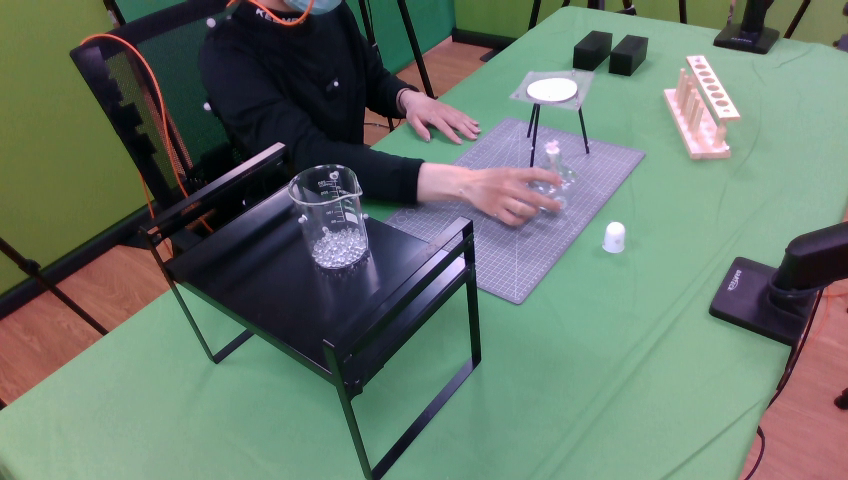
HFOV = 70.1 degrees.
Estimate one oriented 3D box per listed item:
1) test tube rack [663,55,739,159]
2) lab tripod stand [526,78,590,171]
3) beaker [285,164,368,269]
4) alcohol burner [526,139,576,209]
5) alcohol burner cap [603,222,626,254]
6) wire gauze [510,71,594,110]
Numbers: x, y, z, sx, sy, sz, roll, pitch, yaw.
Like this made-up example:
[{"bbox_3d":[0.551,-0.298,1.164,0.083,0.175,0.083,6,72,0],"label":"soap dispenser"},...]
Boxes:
[{"bbox_3d":[0.518,-0.256,1.144,0.066,0.085,0.241,-1,41,8],"label":"test tube rack"},{"bbox_3d":[0.228,-0.216,1.097,0.148,0.132,0.147,-6,40,5],"label":"lab tripod stand"},{"bbox_3d":[-0.102,-0.024,0.676,0.083,0.101,0.074,8,43,17],"label":"beaker"},{"bbox_3d":[0.201,-0.109,0.956,0.078,0.119,0.077,-4,40,4],"label":"alcohol burner"},{"bbox_3d":[0.291,-0.006,0.921,0.034,0.048,0.033,-4,40,4],"label":"alcohol burner cap"},{"bbox_3d":[0.223,-0.266,1.053,0.124,0.011,0.121,12,44,23],"label":"wire gauze"}]
